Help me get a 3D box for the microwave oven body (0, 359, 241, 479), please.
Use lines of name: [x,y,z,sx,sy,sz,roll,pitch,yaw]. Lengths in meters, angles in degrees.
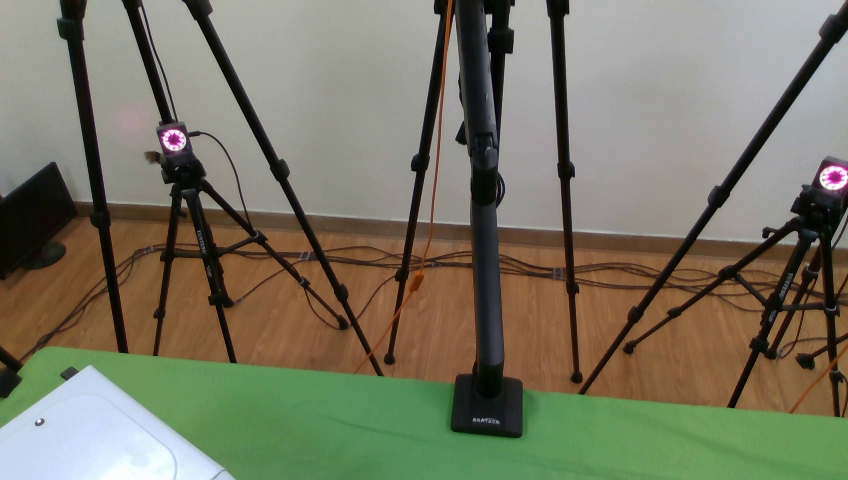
microwave oven body: [-0.458,0.414,0.696,0.323,0.262,0.441,24,46,26]
